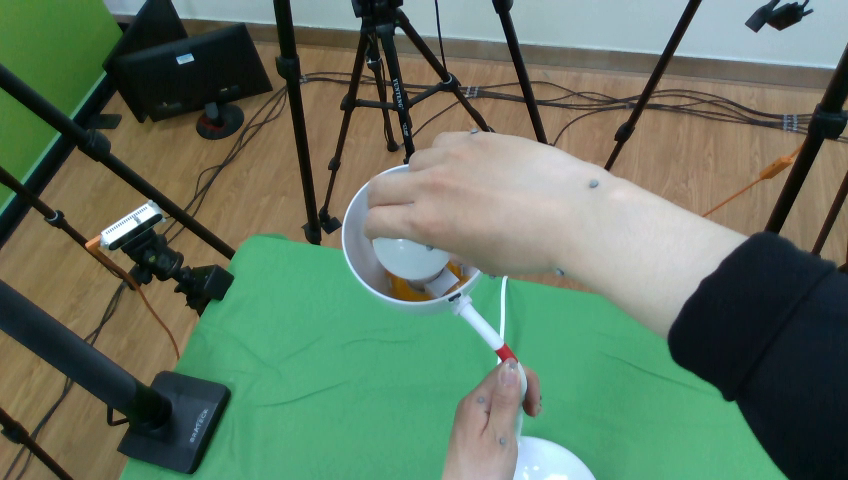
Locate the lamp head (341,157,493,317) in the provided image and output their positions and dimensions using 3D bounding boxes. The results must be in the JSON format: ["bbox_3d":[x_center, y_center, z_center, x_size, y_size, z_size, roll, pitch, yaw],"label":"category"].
[{"bbox_3d":[0.001,0.011,0.488,0.112,0.124,0.111,-3,65,6],"label":"lamp head"}]

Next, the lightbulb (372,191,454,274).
[{"bbox_3d":[-0.007,0.001,0.458,0.059,0.108,0.059,-1,73,2],"label":"lightbulb"}]

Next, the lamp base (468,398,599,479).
[{"bbox_3d":[0.113,0.253,0.649,0.161,0.182,0.177,-25,55,-8],"label":"lamp base"}]
